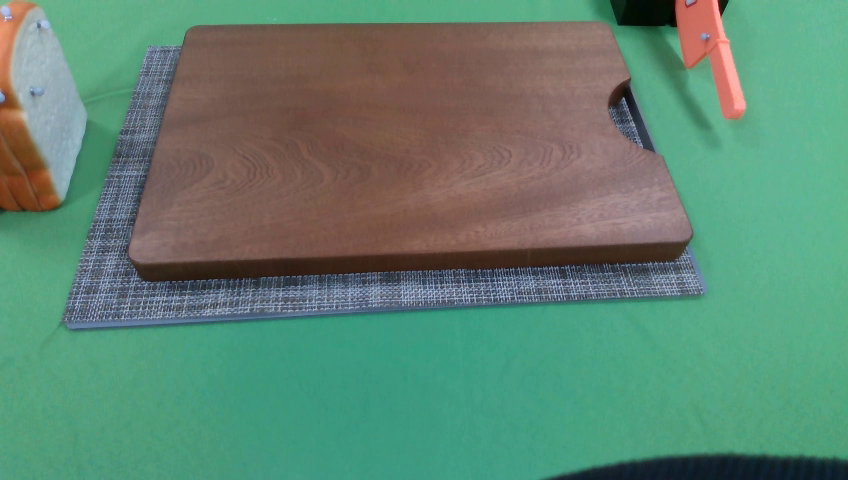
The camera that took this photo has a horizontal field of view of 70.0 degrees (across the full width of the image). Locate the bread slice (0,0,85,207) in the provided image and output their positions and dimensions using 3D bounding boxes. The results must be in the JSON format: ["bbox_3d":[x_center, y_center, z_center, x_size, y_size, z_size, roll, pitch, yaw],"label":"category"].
[{"bbox_3d":[-0.283,-0.104,0.445,0.019,0.132,0.104,-1,54,-11],"label":"bread slice"}]

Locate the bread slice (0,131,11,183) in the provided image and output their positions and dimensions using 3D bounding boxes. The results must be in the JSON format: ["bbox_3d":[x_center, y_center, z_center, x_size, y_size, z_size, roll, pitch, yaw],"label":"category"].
[{"bbox_3d":[-0.335,-0.102,0.438,0.018,0.135,0.106,-4,49,-12],"label":"bread slice"}]

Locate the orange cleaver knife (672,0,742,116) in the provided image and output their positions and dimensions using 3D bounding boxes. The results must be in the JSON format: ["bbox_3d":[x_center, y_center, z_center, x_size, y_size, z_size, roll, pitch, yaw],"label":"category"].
[{"bbox_3d":[0.260,-0.202,0.570,0.012,0.077,0.210,0,73,-7],"label":"orange cleaver knife"}]
